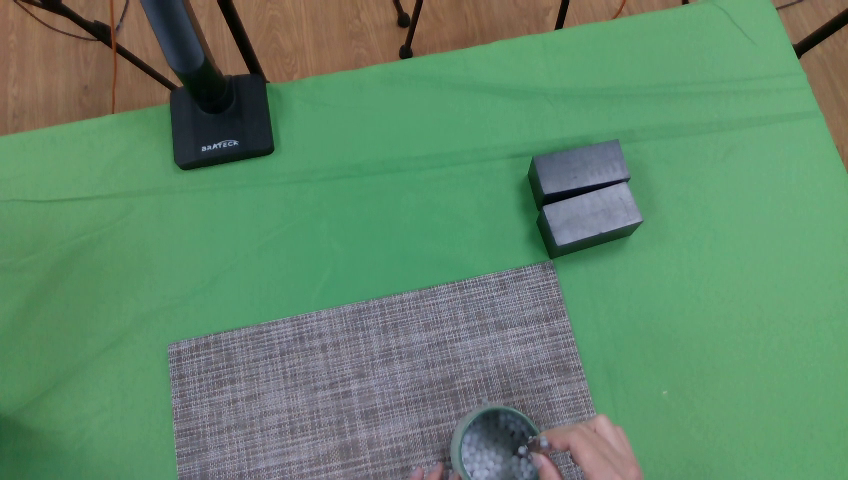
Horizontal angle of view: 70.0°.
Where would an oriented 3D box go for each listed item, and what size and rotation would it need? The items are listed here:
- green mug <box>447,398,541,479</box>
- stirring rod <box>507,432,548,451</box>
[{"bbox_3d":[0.076,0.214,0.591,0.092,0.105,0.124,-29,74,-7],"label":"green mug"},{"bbox_3d":[0.090,0.181,0.541,0.014,0.177,0.006,12,69,6],"label":"stirring rod"}]
